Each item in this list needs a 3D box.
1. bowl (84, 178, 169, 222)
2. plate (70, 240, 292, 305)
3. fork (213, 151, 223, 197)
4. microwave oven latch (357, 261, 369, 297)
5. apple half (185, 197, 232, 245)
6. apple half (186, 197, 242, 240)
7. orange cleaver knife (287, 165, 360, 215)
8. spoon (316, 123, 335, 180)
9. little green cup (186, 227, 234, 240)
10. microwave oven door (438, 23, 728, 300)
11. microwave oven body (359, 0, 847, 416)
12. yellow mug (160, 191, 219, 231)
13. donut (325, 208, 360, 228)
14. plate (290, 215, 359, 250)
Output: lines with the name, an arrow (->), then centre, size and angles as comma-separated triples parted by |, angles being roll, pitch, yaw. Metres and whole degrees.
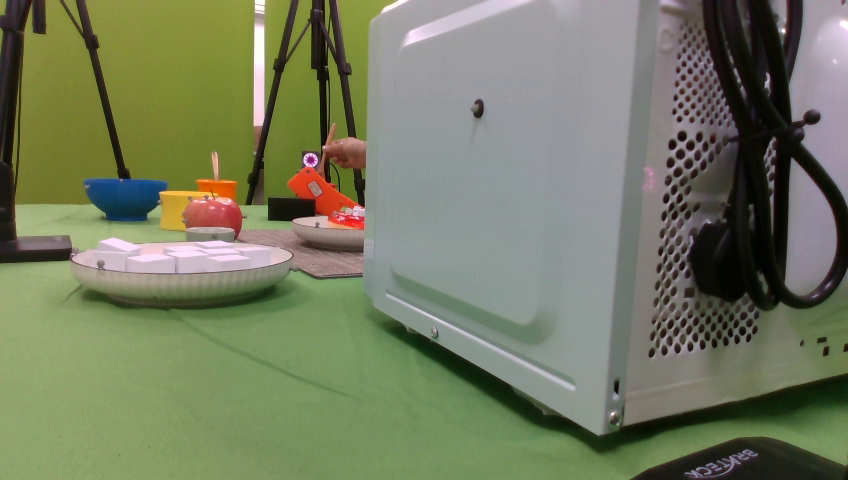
bowl -> -0.584, -0.078, 1.194 | 0.151, 0.077, 0.151 | 3, 8, 0
plate -> -0.242, 0.031, 0.618 | 0.208, 0.039, 0.207 | 2, 8, 0
fork -> -0.494, -0.143, 1.442 | 0.028, 0.018, 0.206 | -1, 52, -21
microwave oven latch -> -0.019, 0.033, 0.530 | 0.079, 0.029, 0.030 | -1, 7, -27
apple half -> -0.337, -0.031, 0.928 | 0.032, 0.081, 0.082 | 13, 13, 37
apple half -> -0.307, -0.026, 0.905 | 0.053, 0.074, 0.081 | 14, 9, 37
orange cleaver knife -> -0.211, -0.092, 1.382 | 0.212, 0.077, 0.012 | 34, 2, -15
spoon -> -0.257, -0.215, 1.553 | 0.041, 0.193, 0.022 | 12, -10, 13
little green cup -> -0.284, 0.005, 0.805 | 0.061, 0.038, 0.061 | 3, 8, 0
microwave oven door -> 0.181, -0.073, 0.620 | 0.358, 0.243, 0.039 | -2, 8, -29
microwave oven body -> 0.211, -0.047, 0.474 | 0.444, 0.260, 0.324 | -1, 7, -28
yellow mug -> -0.416, -0.053, 1.103 | 0.130, 0.064, 0.100 | 7, 8, 27
donut -> -0.110, -0.025, 0.974 | 0.099, 0.048, 0.099 | 5, 8, 0
plate -> -0.110, -0.013, 0.973 | 0.209, 0.038, 0.209 | 3, 8, 0
